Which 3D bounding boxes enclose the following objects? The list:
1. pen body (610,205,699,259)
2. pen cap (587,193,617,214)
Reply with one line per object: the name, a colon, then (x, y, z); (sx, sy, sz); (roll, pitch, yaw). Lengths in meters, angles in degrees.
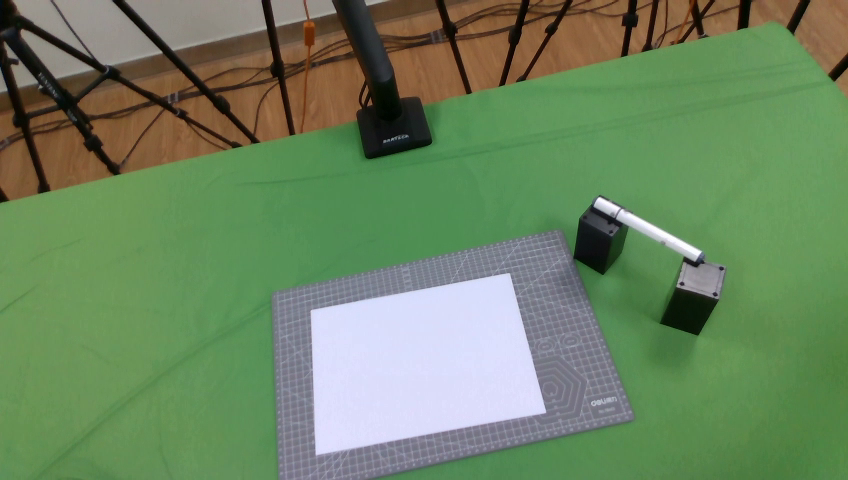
pen body: (0.281, -0.018, 0.776); (0.143, 0.017, 0.017); (34, 68, 25)
pen cap: (0.235, -0.049, 0.801); (0.038, 0.017, 0.017); (33, 67, 26)
